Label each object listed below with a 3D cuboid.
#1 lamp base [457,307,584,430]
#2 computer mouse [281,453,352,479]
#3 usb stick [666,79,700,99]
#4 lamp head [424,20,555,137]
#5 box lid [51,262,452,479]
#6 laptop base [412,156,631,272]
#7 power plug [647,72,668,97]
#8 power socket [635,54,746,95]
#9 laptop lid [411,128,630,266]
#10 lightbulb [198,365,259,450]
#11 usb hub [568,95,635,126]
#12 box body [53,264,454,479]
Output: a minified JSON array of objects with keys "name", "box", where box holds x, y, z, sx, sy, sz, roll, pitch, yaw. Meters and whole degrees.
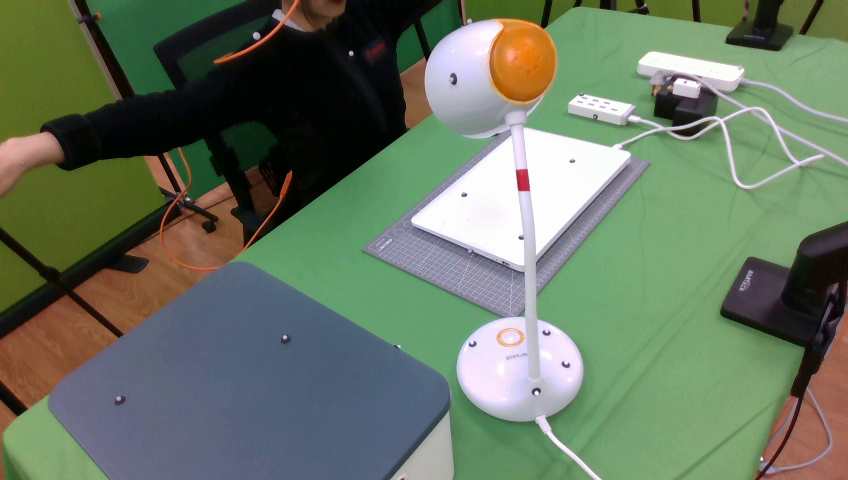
[{"name":"lamp base","box":[0.115,0.108,0.713,0.161,0.181,0.178,-16,43,-8]},{"name":"computer mouse","box":[-0.110,0.278,0.656,0.116,0.041,0.063,20,51,36]},{"name":"usb stick","box":[0.492,-0.288,1.152,0.058,0.027,0.021,20,50,34]},{"name":"lamp head","box":[0.069,-0.153,0.572,0.113,0.112,0.122,-22,16,-14]},{"name":"box lid","box":[-0.182,0.156,0.610,0.368,0.015,0.264,23,49,34]},{"name":"laptop base","box":[0.176,-0.084,1.055,0.233,0.023,0.355,21,48,36]},{"name":"power plug","box":[0.494,-0.320,1.260,0.073,0.052,0.035,1,19,-40]},{"name":"power socket","box":[0.564,-0.357,1.293,0.225,0.033,0.072,24,51,33]},{"name":"laptop lid","box":[0.172,-0.093,1.049,0.239,0.013,0.358,23,50,36]},{"name":"lightbulb","box":[-0.249,0.209,0.757,0.059,0.060,0.107,14,68,25]},{"name":"usb hub","box":[0.360,-0.264,1.228,0.124,0.025,0.049,24,49,34]},{"name":"box body","box":[-0.173,0.212,0.659,0.361,0.161,0.255,23,50,33]}]
